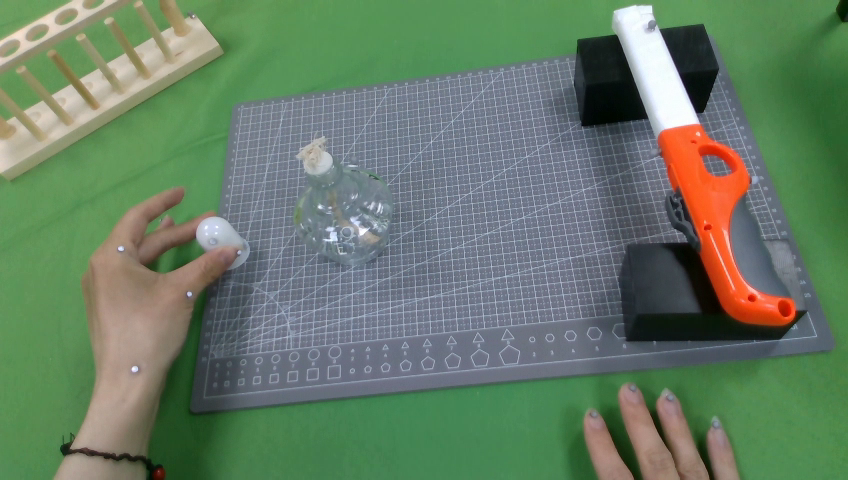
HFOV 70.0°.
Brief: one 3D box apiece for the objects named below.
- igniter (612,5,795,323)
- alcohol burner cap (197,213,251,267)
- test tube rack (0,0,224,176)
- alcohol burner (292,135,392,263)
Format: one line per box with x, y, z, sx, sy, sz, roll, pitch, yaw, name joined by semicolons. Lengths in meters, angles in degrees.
0.182;-0.067;0.420;0.057;0.025;0.274;-10;58;5;igniter
-0.163;-0.003;0.488;0.034;0.048;0.033;-3;61;6;alcohol burner cap
-0.329;-0.171;0.587;0.242;0.086;0.066;-35;61;-10;test tube rack
-0.065;-0.033;0.448;0.078;0.120;0.077;-4;58;8;alcohol burner
